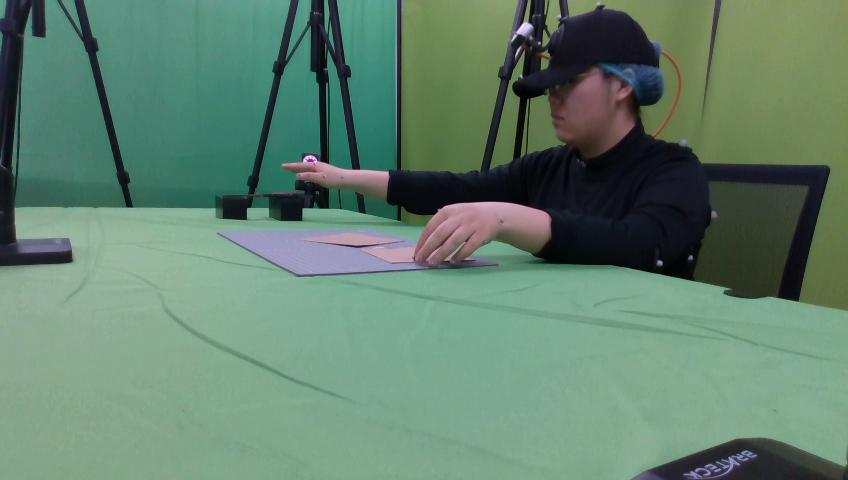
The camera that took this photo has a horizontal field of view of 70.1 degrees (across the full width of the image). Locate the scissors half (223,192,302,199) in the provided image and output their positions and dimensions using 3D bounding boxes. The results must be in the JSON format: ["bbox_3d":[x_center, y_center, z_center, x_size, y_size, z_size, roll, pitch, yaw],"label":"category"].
[{"bbox_3d":[-0.362,-0.100,1.364,0.176,0.013,0.040,-2,13,-24],"label":"scissors half"}]

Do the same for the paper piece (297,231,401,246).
[{"bbox_3d":[-0.127,-0.003,1.052,0.135,0.004,0.136,7,8,32],"label":"paper piece"}]

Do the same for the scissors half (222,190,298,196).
[{"bbox_3d":[-0.372,-0.105,1.380,0.176,0.013,0.040,-6,21,-38],"label":"scissors half"}]

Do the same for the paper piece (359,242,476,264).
[{"bbox_3d":[-0.013,0.020,0.912,0.136,0.008,0.137,-5,11,-25],"label":"paper piece"}]
